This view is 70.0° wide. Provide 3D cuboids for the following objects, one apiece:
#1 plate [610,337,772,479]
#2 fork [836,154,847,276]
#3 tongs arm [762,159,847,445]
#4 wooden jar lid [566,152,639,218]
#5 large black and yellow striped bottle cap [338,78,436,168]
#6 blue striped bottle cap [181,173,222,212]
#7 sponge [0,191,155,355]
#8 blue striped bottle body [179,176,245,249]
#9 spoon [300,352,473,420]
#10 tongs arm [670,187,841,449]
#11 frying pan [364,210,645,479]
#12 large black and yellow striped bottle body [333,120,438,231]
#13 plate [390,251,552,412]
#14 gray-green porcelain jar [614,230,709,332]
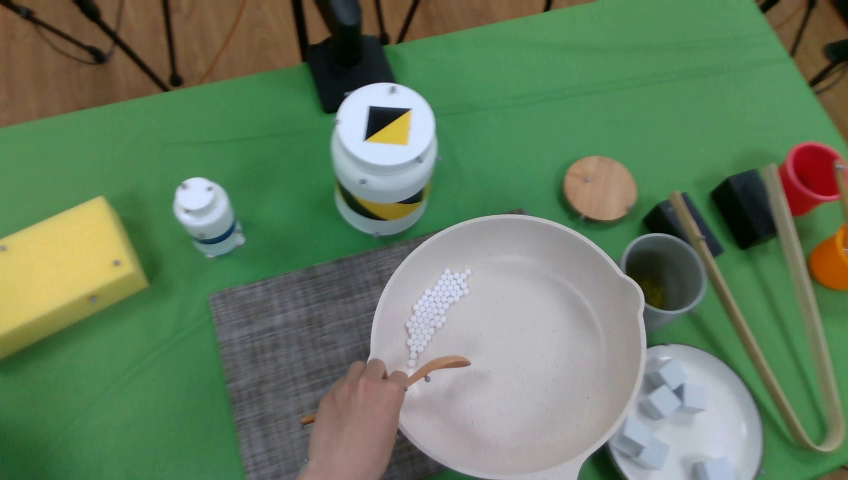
[{"bbox_3d":[0.330,0.228,0.769,0.208,0.039,0.206,2,67,-5],"label":"plate"},{"bbox_3d":[0.587,-0.026,0.836,0.028,0.018,0.209,-29,117,-8],"label":"fork"},{"bbox_3d":[0.514,0.075,0.820,0.028,0.028,0.385,-5,78,-15],"label":"tongs arm"},{"bbox_3d":[0.262,-0.080,0.897,0.108,0.021,0.107,2,69,-5],"label":"wooden jar lid"},{"bbox_3d":[-0.043,-0.139,0.710,0.115,0.019,0.114,2,69,-5],"label":"large black and yellow striped bottle cap"},{"bbox_3d":[-0.266,-0.057,0.723,0.044,0.021,0.044,1,65,-2],"label":"blue striped bottle cap"},{"bbox_3d":[-0.463,0.040,0.751,0.207,0.061,0.117,-29,73,-17],"label":"sponge"},{"bbox_3d":[-0.270,-0.038,0.771,0.063,0.121,0.062,2,67,-5],"label":"blue striped bottle body"},{"bbox_3d":[-0.033,0.148,0.615,0.194,0.041,0.021,-17,77,-30],"label":"spoon"},{"bbox_3d":[0.434,0.097,0.802,0.051,0.026,0.383,-20,81,-15],"label":"tongs arm"},{"bbox_3d":[0.108,0.190,0.611,0.307,0.104,0.482,-17,54,4],"label":"frying pan"},{"bbox_3d":[-0.050,-0.105,0.787,0.131,0.185,0.130,2,67,-4],"label":"large black and yellow striped bottle body"},{"bbox_3d":[0.059,0.116,0.782,0.209,0.038,0.207,2,68,-4],"label":"plate"},{"bbox_3d":[0.287,0.059,0.785,0.106,0.127,0.105,2,67,-5],"label":"gray-green porcelain jar"}]
